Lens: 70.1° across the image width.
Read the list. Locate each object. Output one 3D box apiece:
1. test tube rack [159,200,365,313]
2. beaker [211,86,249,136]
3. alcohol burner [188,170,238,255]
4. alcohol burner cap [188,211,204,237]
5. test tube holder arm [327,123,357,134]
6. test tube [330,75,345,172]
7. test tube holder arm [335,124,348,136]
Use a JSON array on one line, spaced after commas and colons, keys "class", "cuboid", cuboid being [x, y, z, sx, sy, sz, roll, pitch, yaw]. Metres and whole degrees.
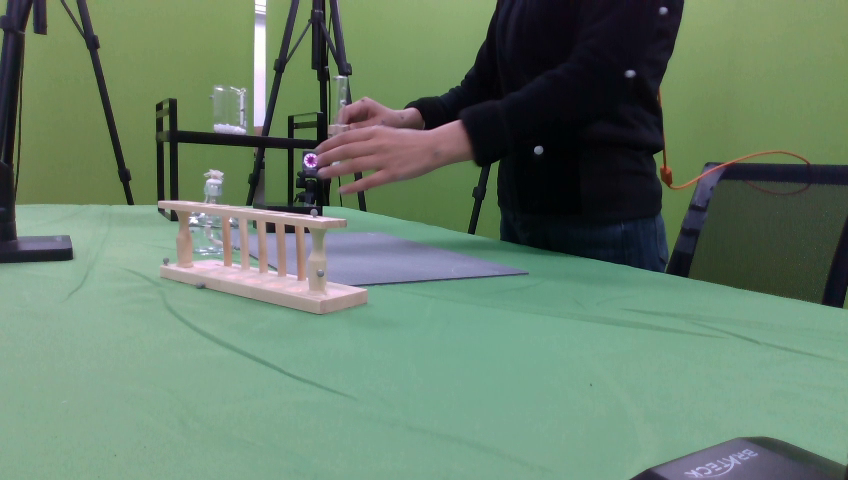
[{"class": "test tube rack", "cuboid": [-0.173, 0.008, 0.624, 0.241, 0.085, 0.067, 7, 9, 34]}, {"class": "beaker", "cuboid": [-0.413, -0.274, 1.297, 0.074, 0.100, 0.083, -5, 11, -44]}, {"class": "alcohol burner", "cuboid": [-0.298, -0.039, 0.852, 0.078, 0.119, 0.078, 3, 6, 0]}, {"class": "alcohol burner cap", "cuboid": [-0.389, -0.029, 1.025, 0.034, 0.048, 0.034, 2, 9, 0]}, {"class": "test tube holder arm", "cuboid": [-0.136, -0.188, 1.016, 0.013, 0.015, 0.178, 14, 13, 1]}, {"class": "test tube", "cuboid": [-0.136, -0.181, 0.947, 0.017, 0.150, 0.017, 6, 16, -1]}, {"class": "test tube holder arm", "cuboid": [-0.132, -0.177, 0.972, 0.010, 0.015, 0.087, 13, 13, -4]}]
